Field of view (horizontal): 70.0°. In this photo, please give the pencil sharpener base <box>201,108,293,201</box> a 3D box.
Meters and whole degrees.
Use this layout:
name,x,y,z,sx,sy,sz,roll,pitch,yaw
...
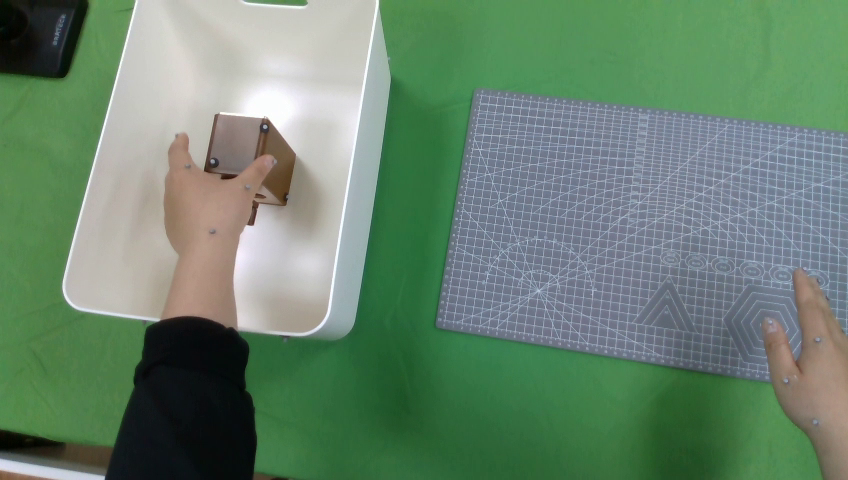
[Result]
name,x,y,z,sx,sy,sz,roll,pitch,yaw
pencil sharpener base,-0.196,-0.090,0.681,0.061,0.107,0.076,6,78,6

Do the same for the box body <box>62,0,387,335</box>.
name,x,y,z,sx,sy,sz,roll,pitch,yaw
box body,-0.187,-0.085,0.657,0.254,0.161,0.362,5,78,5

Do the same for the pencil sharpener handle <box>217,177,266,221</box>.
name,x,y,z,sx,sy,sz,roll,pitch,yaw
pencil sharpener handle,-0.197,-0.043,0.657,0.036,0.068,0.030,1,76,27
